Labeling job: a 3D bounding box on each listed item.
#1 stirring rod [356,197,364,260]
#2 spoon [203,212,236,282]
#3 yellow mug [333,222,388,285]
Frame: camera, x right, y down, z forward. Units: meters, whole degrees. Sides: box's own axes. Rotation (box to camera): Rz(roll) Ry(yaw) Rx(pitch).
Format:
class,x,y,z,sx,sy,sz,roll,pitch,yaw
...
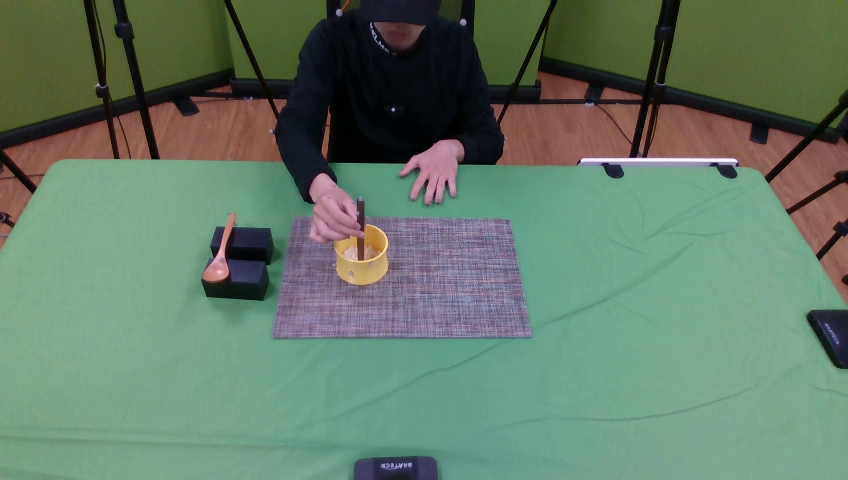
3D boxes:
class,x,y,z,sx,sy,sz,roll,pitch,yaw
stirring rod,-0.112,-0.014,1.070,0.014,0.177,0.006,21,53,12
spoon,-0.361,0.009,1.097,0.041,0.022,0.192,0,44,-3
yellow mug,-0.126,0.015,1.139,0.100,0.064,0.130,-24,51,-24
